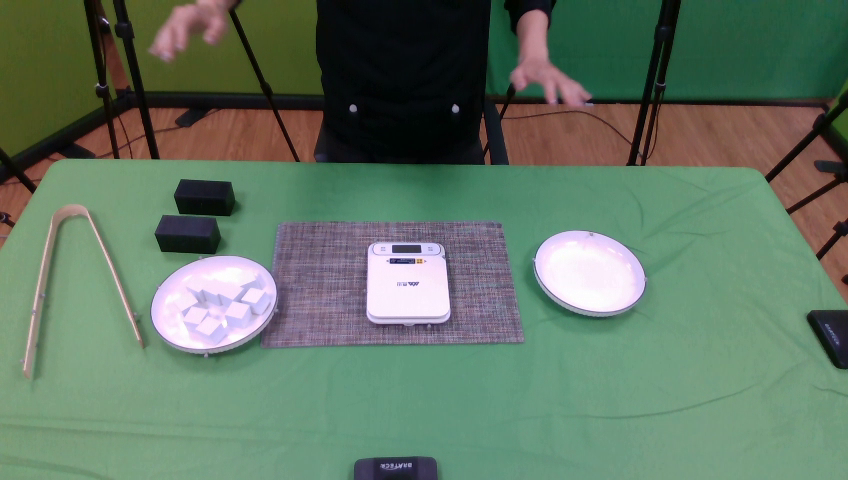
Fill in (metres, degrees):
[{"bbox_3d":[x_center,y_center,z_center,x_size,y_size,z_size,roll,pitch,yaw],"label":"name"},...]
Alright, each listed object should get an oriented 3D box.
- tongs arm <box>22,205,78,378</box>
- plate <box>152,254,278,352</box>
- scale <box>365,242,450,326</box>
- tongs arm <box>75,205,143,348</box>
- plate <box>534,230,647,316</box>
[{"bbox_3d":[-0.652,0.073,1.067,0.051,0.026,0.382,-11,47,-14],"label":"tongs arm"},{"bbox_3d":[-0.357,0.111,1.052,0.208,0.039,0.206,2,46,-2],"label":"plate"},{"bbox_3d":[-0.032,0.071,1.113,0.149,0.032,0.199,1,46,-4],"label":"scale"},{"bbox_3d":[-0.570,0.053,1.097,0.028,0.028,0.385,-26,53,-22],"label":"tongs arm"},{"bbox_3d":[0.311,0.065,1.145,0.209,0.038,0.208,2,45,-2],"label":"plate"}]
